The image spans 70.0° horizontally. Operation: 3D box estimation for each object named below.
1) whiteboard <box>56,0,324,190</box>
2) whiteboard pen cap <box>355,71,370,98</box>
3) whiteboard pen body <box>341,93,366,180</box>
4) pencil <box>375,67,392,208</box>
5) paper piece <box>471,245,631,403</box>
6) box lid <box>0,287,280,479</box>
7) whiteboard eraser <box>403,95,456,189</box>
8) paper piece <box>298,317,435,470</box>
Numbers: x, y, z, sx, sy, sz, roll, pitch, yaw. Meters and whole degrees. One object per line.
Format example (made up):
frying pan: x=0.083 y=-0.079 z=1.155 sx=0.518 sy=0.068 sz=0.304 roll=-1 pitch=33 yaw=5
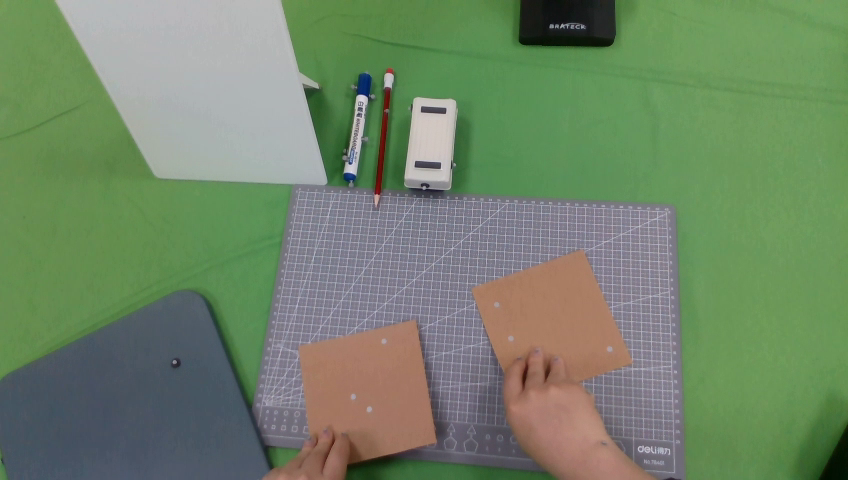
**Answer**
whiteboard: x=-0.225 y=-0.215 z=0.661 sx=0.217 sy=0.308 sz=0.142 roll=4 pitch=52 yaw=6
whiteboard pen cap: x=-0.077 y=-0.195 z=0.763 sx=0.018 sy=0.018 sz=0.033 roll=3 pitch=72 yaw=5
whiteboard pen body: x=-0.085 y=-0.140 z=0.746 sx=0.017 sy=0.017 sz=0.140 roll=5 pitch=72 yaw=6
pencil: x=-0.051 y=-0.128 z=0.744 sx=0.012 sy=0.012 sz=0.193 roll=1 pitch=72 yaw=5
paper piece: x=0.135 y=0.089 z=0.658 sx=0.136 sy=0.009 sz=0.137 roll=-19 pitch=72 yaw=1
box lid: x=-0.295 y=0.252 z=0.633 sx=0.263 sy=0.015 sz=0.369 roll=-26 pitch=72 yaw=-5
whiteboard eraser: x=0.007 y=-0.115 z=0.719 sx=0.055 sy=0.042 sz=0.112 roll=3 pitch=72 yaw=6
paper piece: x=-0.065 y=0.160 z=0.642 sx=0.135 sy=0.004 sz=0.134 roll=-15 pitch=65 yaw=8
